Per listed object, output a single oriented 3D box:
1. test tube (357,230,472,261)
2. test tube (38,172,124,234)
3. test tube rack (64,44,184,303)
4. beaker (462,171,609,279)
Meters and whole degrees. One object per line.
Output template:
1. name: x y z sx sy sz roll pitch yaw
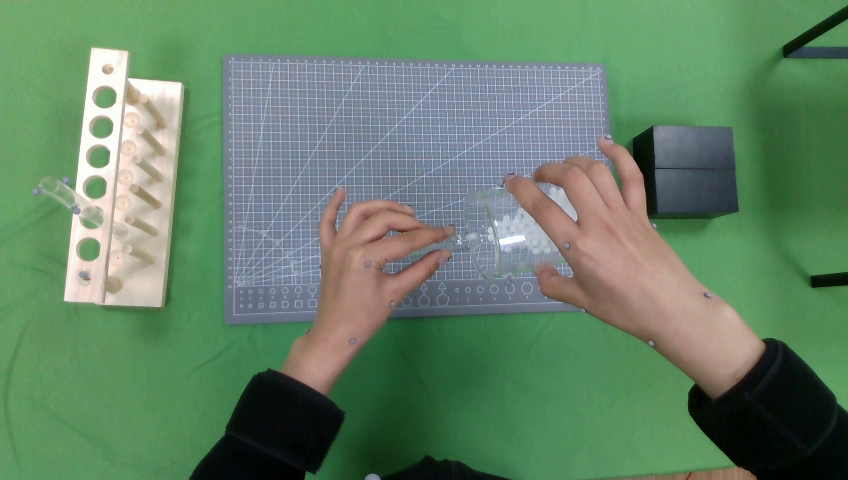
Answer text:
1. test tube: -0.014 0.006 0.567 0.017 0.150 0.017 7 79 -43
2. test tube: -0.308 -0.030 0.554 0.017 0.150 0.017 1 76 -6
3. test tube rack: -0.296 -0.060 0.609 0.067 0.085 0.241 3 83 -8
4. beaker: 0.089 -0.014 0.489 0.100 0.084 0.074 -11 87 -13
